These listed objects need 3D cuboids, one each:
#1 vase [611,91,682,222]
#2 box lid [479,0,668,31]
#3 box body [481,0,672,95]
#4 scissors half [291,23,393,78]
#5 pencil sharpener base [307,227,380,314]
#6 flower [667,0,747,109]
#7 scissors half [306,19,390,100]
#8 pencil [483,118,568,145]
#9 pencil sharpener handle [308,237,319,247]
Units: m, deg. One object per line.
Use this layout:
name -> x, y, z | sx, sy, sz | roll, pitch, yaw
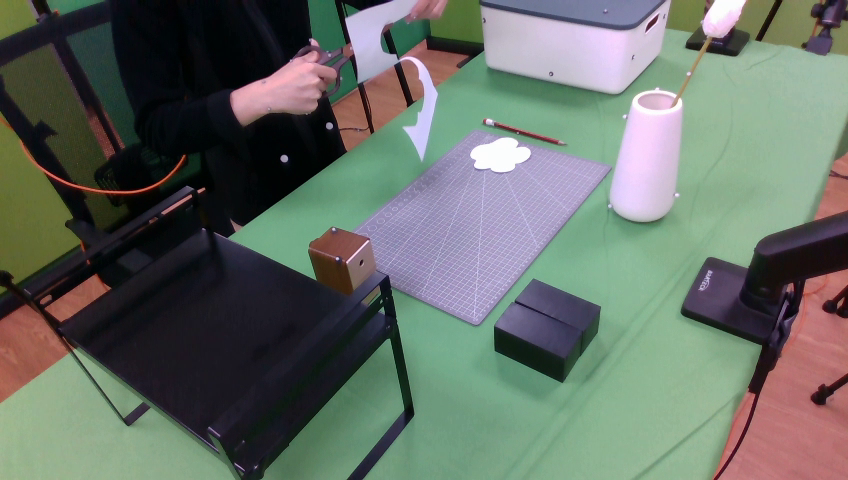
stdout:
vase -> 0.348, -0.125, 0.935 | 0.098, 0.201, 0.097 | -3, 40, 3
box lid -> 0.335, -0.536, 1.331 | 0.368, 0.015, 0.264 | 23, 49, 30
box body -> 0.341, -0.480, 1.381 | 0.361, 0.161, 0.255 | 22, 48, 30
scissors half -> -0.129, -0.300, 0.941 | 0.175, 0.040, 0.013 | -21, 24, 6
pencil sharpener base -> -0.116, 0.043, 0.875 | 0.076, 0.107, 0.061 | 18, 47, 28
flower -> 0.354, -0.187, 0.879 | 0.038, 0.362, 0.044 | 30, 48, 14
scissors half -> -0.117, -0.283, 0.947 | 0.175, 0.040, 0.012 | -42, 15, 14
pencil -> 0.201, -0.217, 1.212 | 0.192, 0.012, 0.012 | 24, 49, 29
pencil sharpener handle -> -0.159, 0.017, 0.892 | 0.030, 0.068, 0.036 | 18, 61, 28
